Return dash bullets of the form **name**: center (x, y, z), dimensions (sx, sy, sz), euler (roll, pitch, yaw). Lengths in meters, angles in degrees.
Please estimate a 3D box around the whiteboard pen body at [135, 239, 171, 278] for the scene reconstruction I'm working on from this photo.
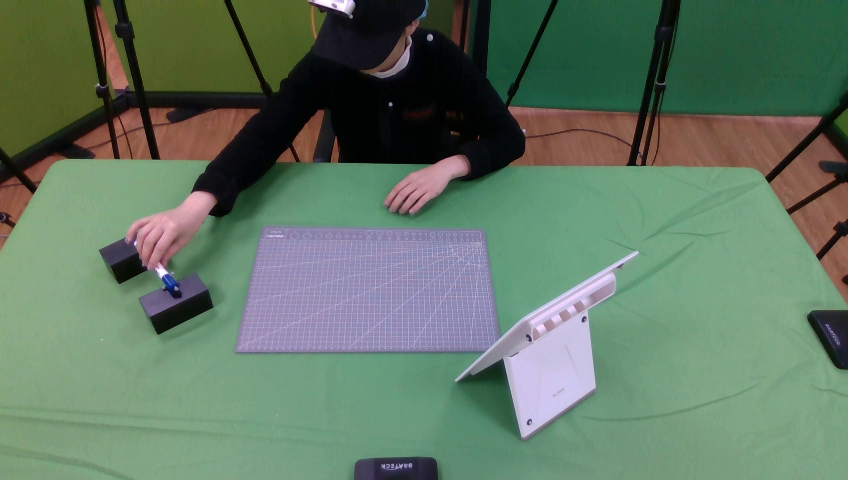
- **whiteboard pen body**: center (-0.467, 0.039, 1.055), dimensions (0.017, 0.017, 0.140), euler (-32, 54, -30)

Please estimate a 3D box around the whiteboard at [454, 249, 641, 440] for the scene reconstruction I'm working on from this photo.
- **whiteboard**: center (0.206, 0.174, 0.890), dimensions (0.217, 0.306, 0.143), euler (-24, 72, -25)

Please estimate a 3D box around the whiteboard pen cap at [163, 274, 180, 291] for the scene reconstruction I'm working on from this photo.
- **whiteboard pen cap**: center (-0.428, 0.071, 1.026), dimensions (0.018, 0.018, 0.033), euler (-31, 52, -29)
